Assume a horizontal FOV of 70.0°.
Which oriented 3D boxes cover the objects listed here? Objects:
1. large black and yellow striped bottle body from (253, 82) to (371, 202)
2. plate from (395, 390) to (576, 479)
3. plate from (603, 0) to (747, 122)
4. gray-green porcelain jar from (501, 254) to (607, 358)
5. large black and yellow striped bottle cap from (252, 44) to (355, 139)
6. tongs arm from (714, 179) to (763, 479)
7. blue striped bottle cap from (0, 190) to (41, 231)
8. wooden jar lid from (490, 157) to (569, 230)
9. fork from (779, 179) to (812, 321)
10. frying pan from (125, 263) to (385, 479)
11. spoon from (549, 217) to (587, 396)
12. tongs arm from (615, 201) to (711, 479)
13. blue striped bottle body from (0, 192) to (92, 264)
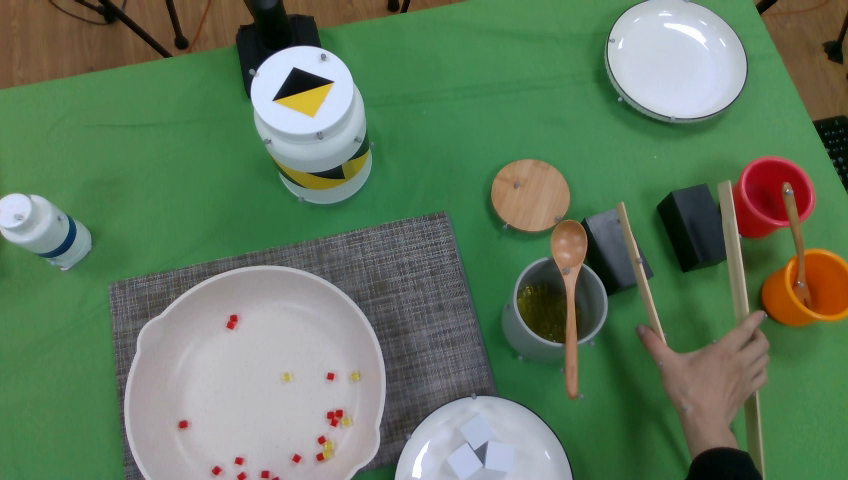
[{"bbox_3d":[-0.138,-0.140,0.765,0.131,0.185,0.130,0,71,-1],"label":"large black and yellow striped bottle body"},{"bbox_3d":[0.070,0.282,0.706,0.208,0.039,0.206,1,73,-2],"label":"plate"},{"bbox_3d":[0.365,-0.263,0.893,0.209,0.038,0.208,0,72,-1],"label":"plate"},{"bbox_3d":[0.149,0.084,0.728,0.106,0.127,0.105,0,71,-1],"label":"gray-green porcelain jar"},{"bbox_3d":[-0.136,-0.169,0.685,0.115,0.019,0.114,0,73,-1],"label":"large black and yellow striped bottle cap"},{"bbox_3d":[0.372,0.120,0.723,0.028,0.028,0.387,-4,87,-10],"label":"tongs arm"},{"bbox_3d":[-0.470,-0.035,0.700,0.044,0.021,0.044,1,73,-1],"label":"blue striped bottle cap"},{"bbox_3d":[0.144,-0.063,0.832,0.108,0.021,0.107,0,73,-1],"label":"wooden jar lid"},{"bbox_3d":[0.457,0.016,0.745,0.028,0.018,0.209,-26,118,-1],"label":"fork"},{"bbox_3d":[-0.237,0.256,0.669,0.306,0.103,0.486,27,65,8],"label":"frying pan"},{"bbox_3d":[0.158,0.070,0.659,0.041,0.022,0.192,3,75,-3],"label":"spoon"},{"bbox_3d":[0.301,0.134,0.716,0.051,0.026,0.384,-15,88,-8],"label":"tongs arm"},{"bbox_3d":[-0.470,-0.017,0.748,0.063,0.121,0.062,0,71,-1],"label":"blue striped bottle body"}]
